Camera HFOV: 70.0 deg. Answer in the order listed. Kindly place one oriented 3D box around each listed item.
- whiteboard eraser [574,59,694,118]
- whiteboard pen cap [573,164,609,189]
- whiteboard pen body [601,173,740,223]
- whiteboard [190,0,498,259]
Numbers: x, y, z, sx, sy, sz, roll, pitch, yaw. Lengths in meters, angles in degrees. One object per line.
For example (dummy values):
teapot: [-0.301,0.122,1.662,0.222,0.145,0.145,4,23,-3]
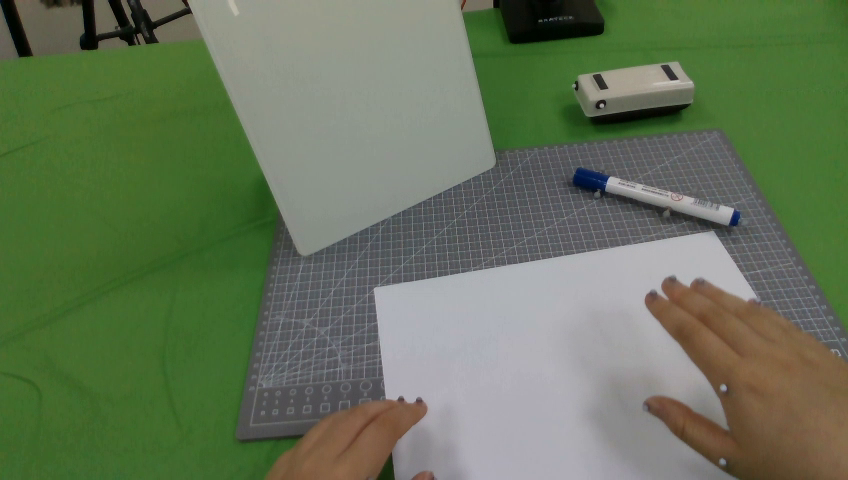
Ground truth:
whiteboard eraser: [0.221,-0.159,0.642,0.113,0.042,0.055,-7,49,-1]
whiteboard pen cap: [0.158,-0.059,0.568,0.033,0.018,0.018,21,53,22]
whiteboard pen body: [0.207,-0.041,0.543,0.140,0.017,0.017,19,52,24]
whiteboard: [-0.087,-0.180,0.557,0.217,0.308,0.142,-26,29,-17]
